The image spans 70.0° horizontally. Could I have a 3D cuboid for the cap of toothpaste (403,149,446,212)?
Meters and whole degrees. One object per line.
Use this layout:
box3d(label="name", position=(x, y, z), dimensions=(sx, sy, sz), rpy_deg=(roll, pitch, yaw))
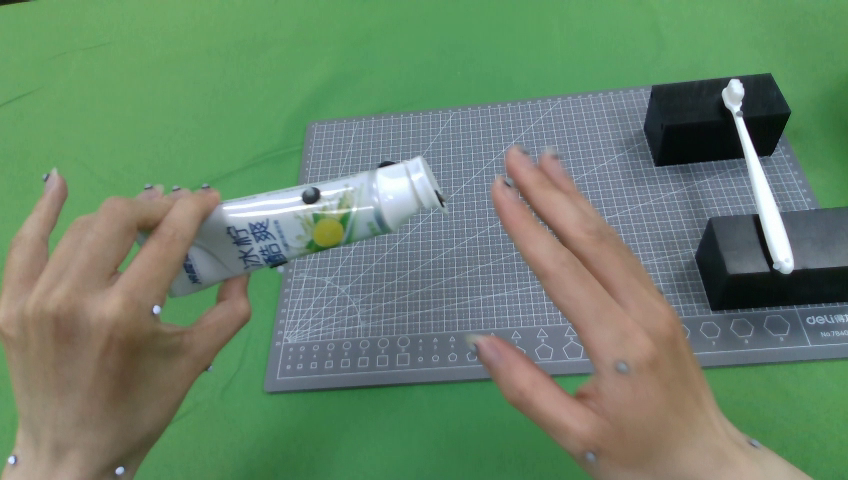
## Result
box3d(label="cap of toothpaste", position=(0.000, -0.029, 0.317), dimensions=(0.011, 0.038, 0.037), rpy_deg=(-26, 53, 10))

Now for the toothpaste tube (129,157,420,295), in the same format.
box3d(label="toothpaste tube", position=(-0.078, -0.011, 0.331), dimensions=(0.165, 0.055, 0.034), rpy_deg=(-15, 22, 10))

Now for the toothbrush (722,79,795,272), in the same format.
box3d(label="toothbrush", position=(0.248, -0.055, 0.452), dimensions=(0.014, 0.017, 0.180), rpy_deg=(5, 56, 0))
